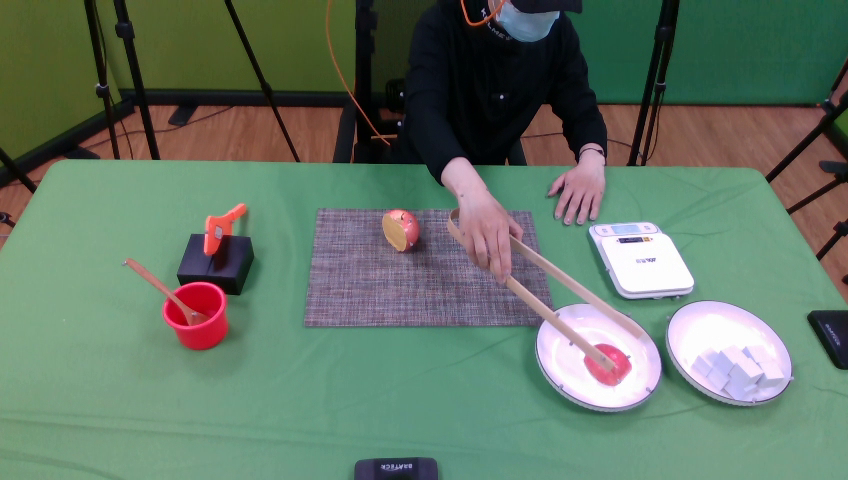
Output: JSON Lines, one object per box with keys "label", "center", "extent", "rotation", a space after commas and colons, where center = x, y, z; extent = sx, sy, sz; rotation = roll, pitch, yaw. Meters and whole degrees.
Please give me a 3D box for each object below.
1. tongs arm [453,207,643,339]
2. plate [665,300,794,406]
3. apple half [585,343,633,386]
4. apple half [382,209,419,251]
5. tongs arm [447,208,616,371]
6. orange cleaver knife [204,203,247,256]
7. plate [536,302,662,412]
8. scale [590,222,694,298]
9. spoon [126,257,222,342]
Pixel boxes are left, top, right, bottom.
{"label": "tongs arm", "center": [0.209, 0.051, 1.059], "extent": [0.386, 0.028, 0.028], "rotation": [36, 57, 18]}
{"label": "plate", "center": [0.513, 0.194, 1.034], "extent": [0.208, 0.039, 0.206], "rotation": [2, 46, -2]}
{"label": "apple half", "center": [0.309, 0.198, 1.008], "extent": [0.081, 0.033, 0.081], "rotation": [4, 48, -4]}
{"label": "apple half", "center": [-0.039, -0.022, 1.175], "extent": [0.053, 0.075, 0.080], "rotation": [-26, 50, -31]}
{"label": "tongs arm", "center": [0.174, 0.075, 1.030], "extent": [0.383, 0.026, 0.051], "rotation": [40, 54, 21]}
{"label": "orange cleaver knife", "center": [-0.374, -0.024, 1.146], "extent": [0.012, 0.077, 0.211], "rotation": [4, 14, 1]}
{"label": "plate", "center": [0.288, 0.197, 1.016], "extent": [0.209, 0.038, 0.208], "rotation": [2, 46, -2]}
{"label": "scale", "center": [0.424, 0.031, 1.189], "extent": [0.149, 0.032, 0.199], "rotation": [-3, 46, -7]}
{"label": "spoon", "center": [-0.408, 0.096, 0.990], "extent": [0.194, 0.021, 0.041], "rotation": [50, 53, -18]}
